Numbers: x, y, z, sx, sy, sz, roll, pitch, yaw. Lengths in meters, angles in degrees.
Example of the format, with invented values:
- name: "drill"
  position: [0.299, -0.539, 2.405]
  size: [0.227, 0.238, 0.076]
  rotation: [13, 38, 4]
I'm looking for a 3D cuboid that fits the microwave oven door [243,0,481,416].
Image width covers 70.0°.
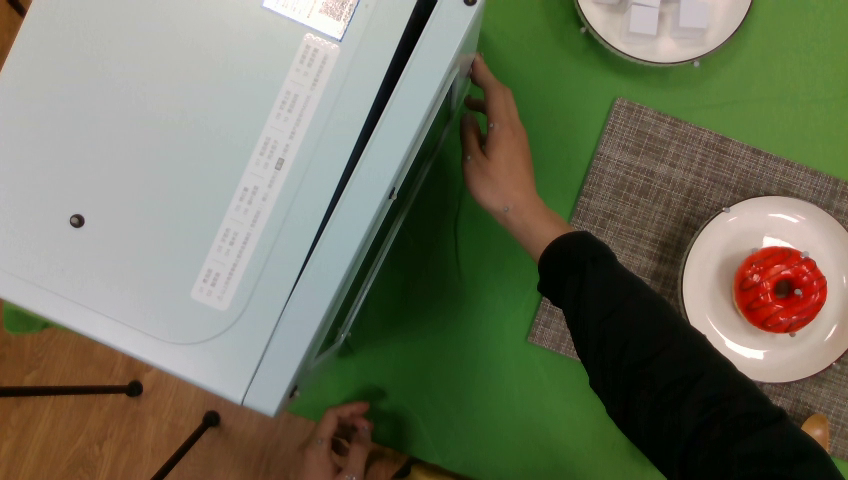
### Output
- name: "microwave oven door"
  position: [-0.047, -0.027, 0.567]
  size: [0.039, 0.244, 0.355]
  rotation: [26, 89, 2]

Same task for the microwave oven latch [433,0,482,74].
- name: "microwave oven latch"
  position: [0.037, -0.228, 0.672]
  size: [0.030, 0.029, 0.079]
  rotation: [26, 90, 1]

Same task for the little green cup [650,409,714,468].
- name: "little green cup"
  position: [0.286, 0.220, 0.680]
  size: [0.061, 0.038, 0.061]
  rotation: [0, 86, 0]

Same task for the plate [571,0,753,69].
- name: "plate"
  position: [0.267, -0.295, 0.691]
  size: [0.208, 0.039, 0.207]
  rotation: [0, 89, 0]

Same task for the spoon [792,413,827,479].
- name: "spoon"
  position: [0.452, 0.287, 0.684]
  size: [0.042, 0.021, 0.193]
  rotation: [-17, 90, -19]

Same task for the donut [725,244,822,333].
- name: "donut"
  position: [0.384, 0.053, 0.668]
  size: [0.099, 0.048, 0.099]
  rotation: [0, 90, 3]

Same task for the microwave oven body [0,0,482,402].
- name: "microwave oven body"
  position: [-0.171, -0.128, 0.575]
  size: [0.326, 0.260, 0.441]
  rotation: [24, 90, 1]

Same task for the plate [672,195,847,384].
- name: "plate"
  position: [0.379, 0.054, 0.680]
  size: [0.209, 0.038, 0.209]
  rotation: [0, 89, 1]
